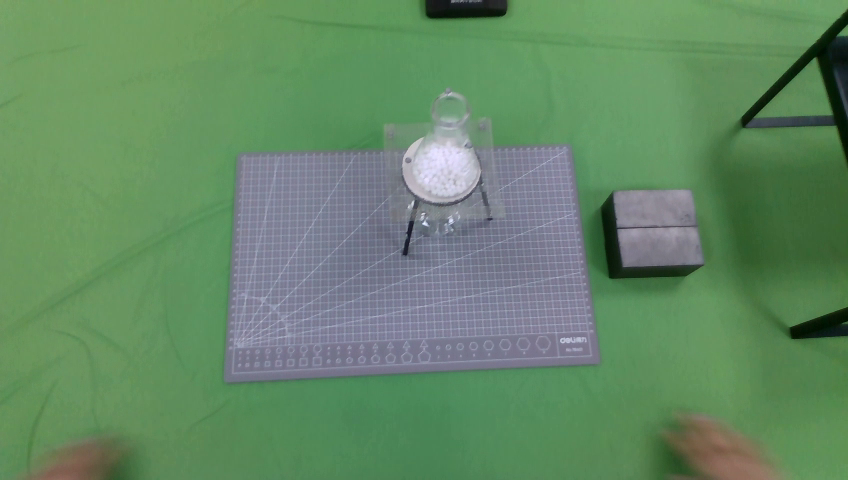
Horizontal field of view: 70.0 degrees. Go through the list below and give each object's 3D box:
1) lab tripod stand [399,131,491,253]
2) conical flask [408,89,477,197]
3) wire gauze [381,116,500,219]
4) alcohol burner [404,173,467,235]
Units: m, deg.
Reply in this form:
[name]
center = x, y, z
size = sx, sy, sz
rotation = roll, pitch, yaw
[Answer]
[lab tripod stand]
center = 0.013, -0.063, 0.728
size = 0.148, 0.132, 0.147
rotation = 0, 71, 0
[conical flask]
center = 0.021, -0.099, 0.609
size = 0.075, 0.122, 0.075
rotation = 1, 69, -1
[wire gauze]
center = 0.018, -0.079, 0.665
size = 0.125, 0.011, 0.120
rotation = -2, 73, -5
[alcohol burner]
center = 0.014, -0.051, 0.735
size = 0.078, 0.120, 0.077
rotation = 0, 72, 0
